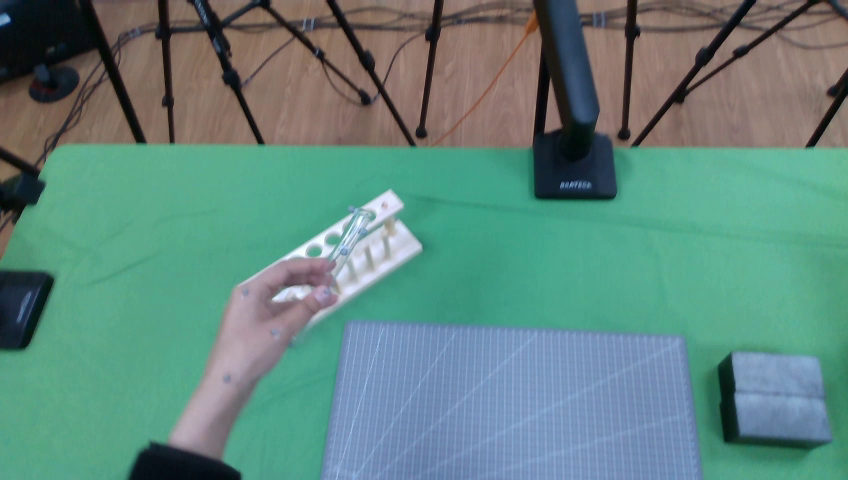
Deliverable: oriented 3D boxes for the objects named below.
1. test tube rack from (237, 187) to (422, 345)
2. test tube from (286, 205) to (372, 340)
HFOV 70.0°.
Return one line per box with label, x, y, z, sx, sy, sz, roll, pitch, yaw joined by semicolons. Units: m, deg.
test tube rack;-0.121;0.035;0.829;0.242;0.086;0.066;-34;63;-14
test tube;-0.088;0.033;0.549;0.017;0.017;0.150;41;111;23
